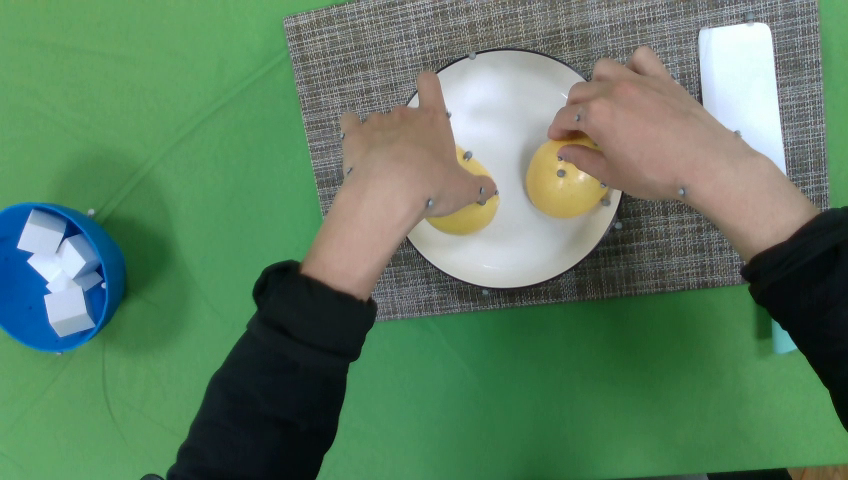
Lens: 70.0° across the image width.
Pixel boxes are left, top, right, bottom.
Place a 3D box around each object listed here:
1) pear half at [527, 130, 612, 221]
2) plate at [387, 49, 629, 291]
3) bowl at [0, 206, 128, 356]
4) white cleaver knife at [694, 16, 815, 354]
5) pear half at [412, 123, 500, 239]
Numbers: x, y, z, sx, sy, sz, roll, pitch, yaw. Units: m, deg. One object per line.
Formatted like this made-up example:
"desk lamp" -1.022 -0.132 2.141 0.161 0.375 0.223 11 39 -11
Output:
"pear half" 0.124 -0.051 0.514 0.070 0.031 0.088 27 126 -3
"plate" 0.072 -0.060 0.538 0.207 0.039 0.208 2 101 11
"bowl" -0.363 0.035 0.622 0.151 0.077 0.152 2 101 11
"white cleaver knife" 0.279 -0.041 0.514 0.066 0.021 0.286 -11 95 17
"pear half" 0.017 -0.046 0.503 0.076 0.056 0.111 13 145 38
